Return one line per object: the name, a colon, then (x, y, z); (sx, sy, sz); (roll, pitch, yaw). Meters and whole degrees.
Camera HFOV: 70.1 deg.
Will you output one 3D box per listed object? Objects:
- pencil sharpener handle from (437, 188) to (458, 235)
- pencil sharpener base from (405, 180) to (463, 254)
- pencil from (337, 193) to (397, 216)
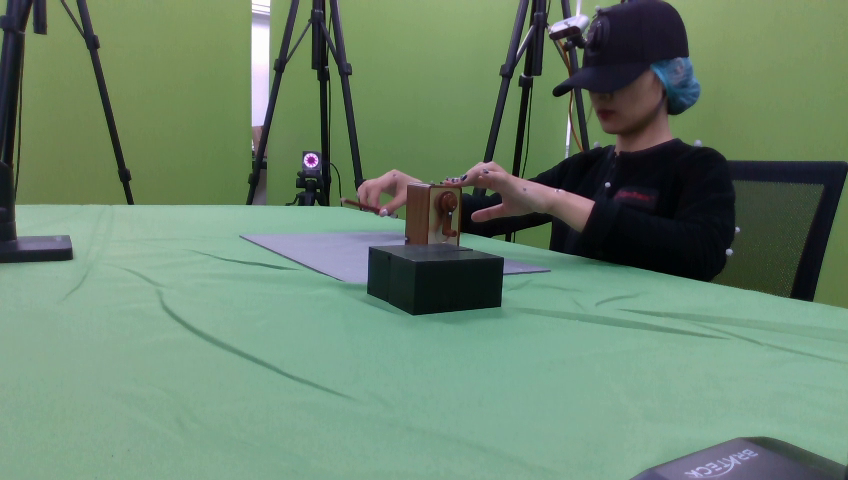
pencil sharpener handle: (0.041, -0.041, 0.876); (0.036, 0.067, 0.030); (1, 7, -30)
pencil sharpener base: (0.016, -0.035, 0.922); (0.061, 0.107, 0.076); (-1, 9, -30)
pencil: (-0.097, -0.062, 1.056); (0.012, 0.012, 0.195); (5, -5, 27)
